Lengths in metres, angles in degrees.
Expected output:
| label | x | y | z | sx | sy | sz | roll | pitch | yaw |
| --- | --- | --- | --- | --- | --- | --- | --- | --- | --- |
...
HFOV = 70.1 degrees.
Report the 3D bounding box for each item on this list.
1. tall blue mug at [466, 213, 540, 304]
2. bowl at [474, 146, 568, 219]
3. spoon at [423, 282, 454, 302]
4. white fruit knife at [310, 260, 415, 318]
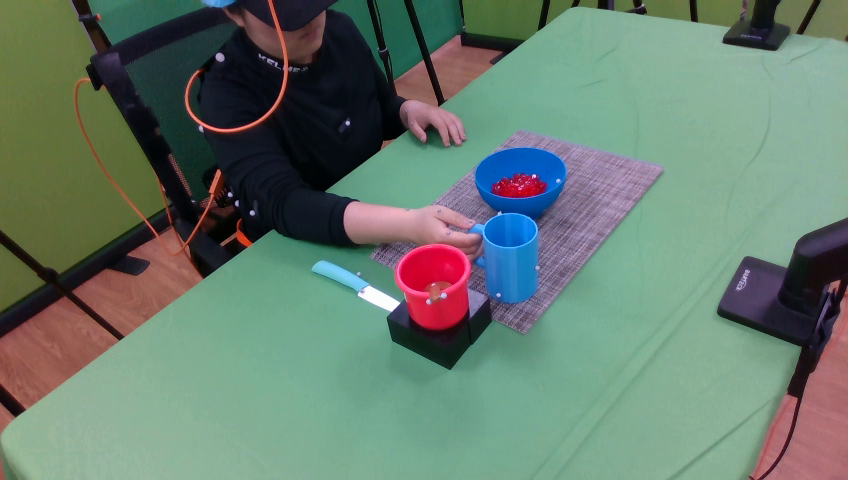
| label | x | y | z | sx | sy | sz | roll | pitch | yaw |
| --- | --- | --- | --- | --- | --- | --- | --- | --- | --- |
| tall blue mug | 0.109 | 0.026 | 0.856 | 0.107 | 0.108 | 0.077 | 2 | 42 | 12 |
| bowl | 0.161 | -0.083 | 1.001 | 0.151 | 0.077 | 0.150 | -5 | 40 | 5 |
| spoon | 0.015 | 0.062 | 0.733 | 0.041 | 0.021 | 0.194 | -5 | -4 | 3 |
| white fruit knife | -0.094 | 0.074 | 0.920 | 0.206 | 0.016 | 0.027 | 24 | 77 | 30 |
